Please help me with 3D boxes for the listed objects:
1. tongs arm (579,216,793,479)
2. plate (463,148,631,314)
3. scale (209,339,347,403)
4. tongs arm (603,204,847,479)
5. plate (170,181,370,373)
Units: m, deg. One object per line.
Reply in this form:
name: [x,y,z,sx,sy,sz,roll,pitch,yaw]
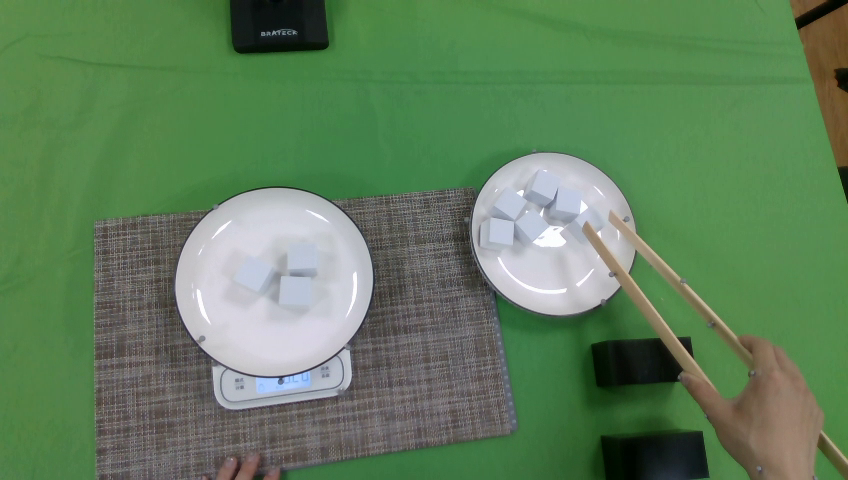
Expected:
tongs arm: [0.274,0.119,0.616,0.028,0.028,0.383,-24,60,-14]
plate: [0.148,-0.010,0.745,0.208,0.039,0.206,2,76,-7]
scale: [-0.168,0.075,0.684,0.149,0.031,0.200,-5,77,-8]
tongs arm: [0.295,0.109,0.620,0.051,0.027,0.381,-30,61,-13]
plate: [-0.163,0.039,0.659,0.209,0.038,0.208,2,76,-7]
